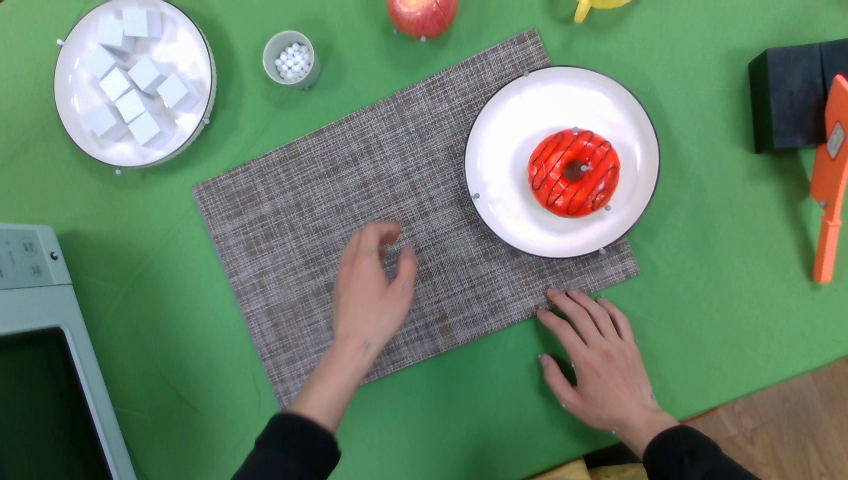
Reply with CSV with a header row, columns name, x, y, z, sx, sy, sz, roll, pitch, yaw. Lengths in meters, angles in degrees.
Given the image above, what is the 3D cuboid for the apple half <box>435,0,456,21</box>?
name,x,y,z,sx,sy,sz,roll,pitch,yaw
apple half,0.016,-0.282,0.666,0.033,0.081,0.081,-32,86,12

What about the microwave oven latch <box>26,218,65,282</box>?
name,x,y,z,sx,sy,sz,roll,pitch,yaw
microwave oven latch,-0.466,0.013,0.736,0.030,0.029,0.079,-18,89,7

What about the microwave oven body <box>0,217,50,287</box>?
name,x,y,z,sx,sy,sz,roll,pitch,yaw
microwave oven body,-0.557,0.230,0.654,0.326,0.260,0.441,-20,88,7

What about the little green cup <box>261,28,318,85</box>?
name,x,y,z,sx,sy,sz,roll,pitch,yaw
little green cup,-0.155,-0.212,0.709,0.061,0.039,0.061,0,90,8

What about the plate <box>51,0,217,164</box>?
name,x,y,z,sx,sy,sz,roll,pitch,yaw
plate,-0.346,-0.194,0.736,0.207,0.039,0.207,0,91,8

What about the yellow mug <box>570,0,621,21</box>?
name,x,y,z,sx,sy,sz,roll,pitch,yaw
yellow mug,0.188,-0.297,0.646,0.100,0.064,0.131,25,95,7

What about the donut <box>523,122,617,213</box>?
name,x,y,z,sx,sy,sz,roll,pitch,yaw
donut,0.157,-0.078,0.652,0.099,0.048,0.099,0,92,9

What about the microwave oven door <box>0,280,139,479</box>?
name,x,y,z,sx,sy,sz,roll,pitch,yaw
microwave oven door,-0.408,0.220,0.628,0.039,0.244,0.355,-21,87,7

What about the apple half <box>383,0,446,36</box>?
name,x,y,z,sx,sy,sz,roll,pitch,yaw
apple half,-0.016,-0.261,0.672,0.053,0.074,0.081,-32,90,11

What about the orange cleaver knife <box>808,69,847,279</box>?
name,x,y,z,sx,sy,sz,roll,pitch,yaw
orange cleaver knife,0.406,-0.061,0.611,0.012,0.076,0.213,-3,120,11

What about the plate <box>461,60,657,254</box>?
name,x,y,z,sx,sy,sz,roll,pitch,yaw
plate,0.145,-0.089,0.665,0.209,0.038,0.209,0,91,8
